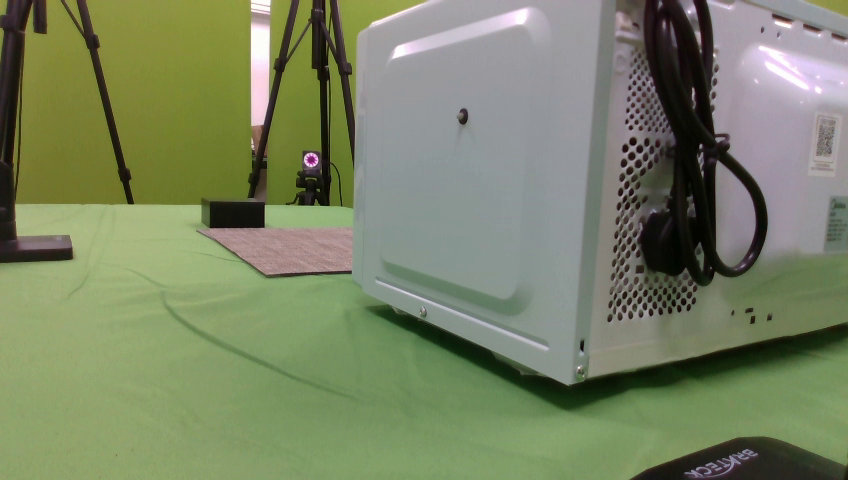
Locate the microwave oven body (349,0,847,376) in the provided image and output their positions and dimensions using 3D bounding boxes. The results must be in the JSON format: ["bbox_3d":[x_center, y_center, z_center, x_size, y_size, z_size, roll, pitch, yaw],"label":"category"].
[{"bbox_3d":[0.199,-0.053,0.540,0.444,0.260,0.324,-1,8,-32],"label":"microwave oven body"}]

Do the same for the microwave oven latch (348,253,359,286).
[{"bbox_3d":[-0.034,0.028,0.581,0.079,0.029,0.030,-1,7,-32],"label":"microwave oven latch"}]

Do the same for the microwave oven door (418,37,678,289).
[{"bbox_3d":[0.159,-0.079,0.684,0.358,0.243,0.039,-2,9,-32],"label":"microwave oven door"}]

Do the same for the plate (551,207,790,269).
[{"bbox_3d":[0.224,-0.004,0.572,0.209,0.038,0.209,3,8,0],"label":"plate"}]

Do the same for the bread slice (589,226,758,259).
[{"bbox_3d":[0.226,0.001,0.569,0.132,0.019,0.104,4,5,-23],"label":"bread slice"}]
